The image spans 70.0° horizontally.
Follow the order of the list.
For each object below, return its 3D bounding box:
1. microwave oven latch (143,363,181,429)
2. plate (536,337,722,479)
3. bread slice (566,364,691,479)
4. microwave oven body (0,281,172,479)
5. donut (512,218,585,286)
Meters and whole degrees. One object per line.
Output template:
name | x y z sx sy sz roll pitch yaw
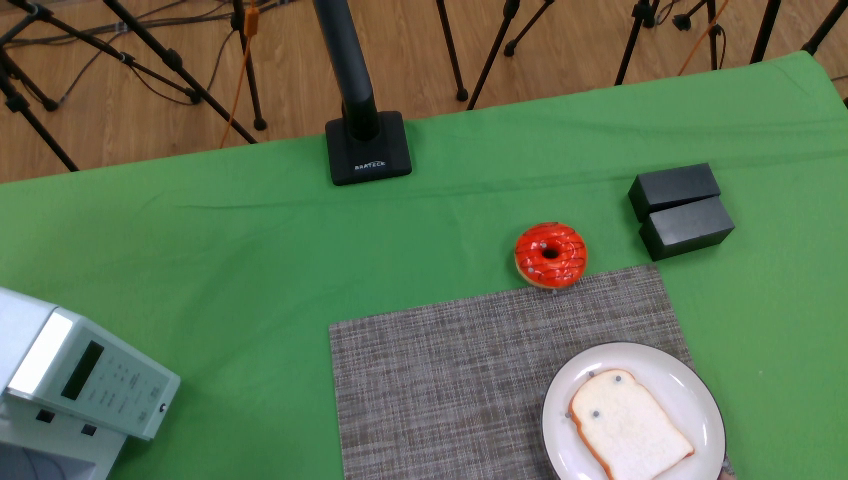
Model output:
microwave oven latch | -0.325 0.186 0.733 0.030 0.030 0.079 18 67 9
plate | 0.236 0.219 0.712 0.207 0.039 0.206 -2 64 4
bread slice | 0.232 0.214 0.716 0.105 0.019 0.130 -29 66 -11
microwave oven body | -0.525 0.257 0.598 0.325 0.262 0.439 16 67 9
donut | 0.167 0.016 0.814 0.099 0.048 0.098 -3 62 5
